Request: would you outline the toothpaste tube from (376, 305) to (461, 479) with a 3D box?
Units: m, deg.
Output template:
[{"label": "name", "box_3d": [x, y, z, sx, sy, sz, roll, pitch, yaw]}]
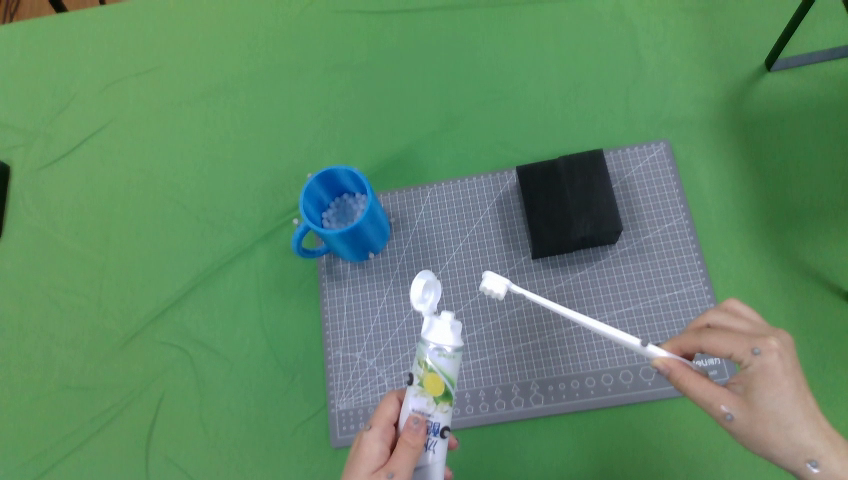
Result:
[{"label": "toothpaste tube", "box_3d": [-0.001, 0.132, 0.478, 0.055, 0.034, 0.165, 12, 94, 18]}]

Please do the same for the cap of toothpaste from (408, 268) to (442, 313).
[{"label": "cap of toothpaste", "box_3d": [0.002, 0.041, 0.483, 0.011, 0.038, 0.037, 5, 70, 41]}]

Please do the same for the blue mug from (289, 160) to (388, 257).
[{"label": "blue mug", "box_3d": [-0.105, -0.025, 0.706, 0.116, 0.106, 0.082, -37, 71, -4]}]

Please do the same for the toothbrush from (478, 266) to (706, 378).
[{"label": "toothbrush", "box_3d": [0.124, 0.063, 0.455, 0.181, 0.014, 0.016, 24, 50, 5]}]
